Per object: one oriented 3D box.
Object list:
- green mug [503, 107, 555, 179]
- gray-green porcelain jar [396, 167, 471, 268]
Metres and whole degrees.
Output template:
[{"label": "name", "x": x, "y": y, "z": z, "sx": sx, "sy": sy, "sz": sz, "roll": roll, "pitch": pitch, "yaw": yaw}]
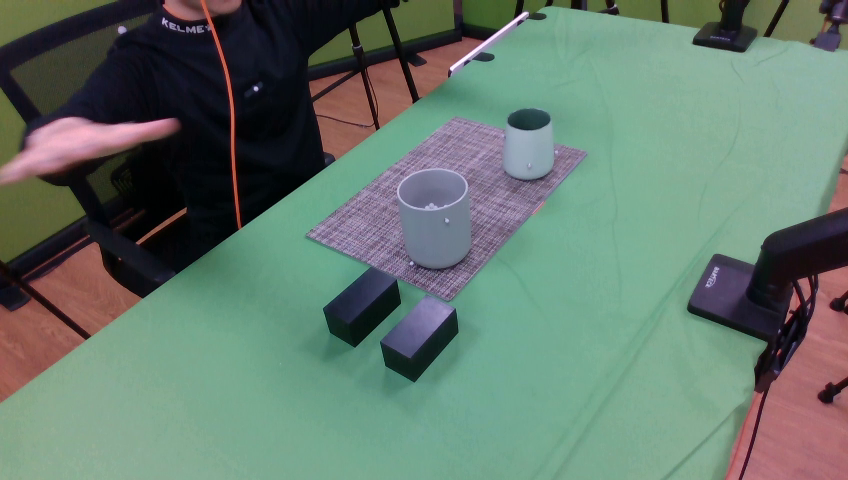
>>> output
[{"label": "green mug", "x": 0.181, "y": -0.180, "z": 1.083, "sx": 0.093, "sy": 0.105, "sz": 0.124, "roll": -13, "pitch": 41, "yaw": -6}, {"label": "gray-green porcelain jar", "x": 0.017, "y": -0.029, "z": 0.913, "sx": 0.106, "sy": 0.127, "sz": 0.105, "roll": -4, "pitch": 41, "yaw": 4}]
